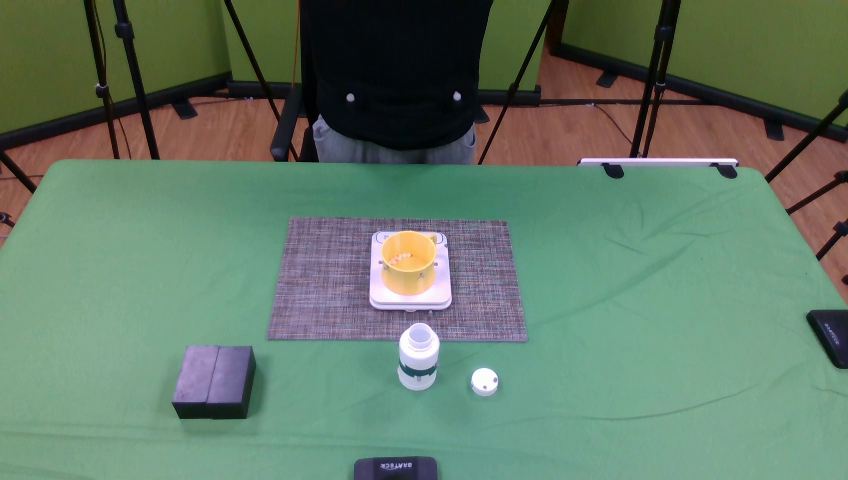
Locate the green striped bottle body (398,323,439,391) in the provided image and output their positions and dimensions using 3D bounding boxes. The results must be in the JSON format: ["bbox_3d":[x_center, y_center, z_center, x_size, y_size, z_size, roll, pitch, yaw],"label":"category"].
[{"bbox_3d":[-0.010,0.181,0.956,0.063,0.120,0.063,2,46,-2],"label":"green striped bottle body"}]

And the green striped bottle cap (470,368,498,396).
[{"bbox_3d":[0.098,0.232,0.989,0.044,0.020,0.044,2,42,-1],"label":"green striped bottle cap"}]

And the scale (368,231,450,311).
[{"bbox_3d":[-0.029,0.048,1.137,0.149,0.032,0.199,1,46,-4],"label":"scale"}]

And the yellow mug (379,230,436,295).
[{"bbox_3d":[-0.020,0.030,1.089,0.099,0.064,0.130,31,51,24],"label":"yellow mug"}]
